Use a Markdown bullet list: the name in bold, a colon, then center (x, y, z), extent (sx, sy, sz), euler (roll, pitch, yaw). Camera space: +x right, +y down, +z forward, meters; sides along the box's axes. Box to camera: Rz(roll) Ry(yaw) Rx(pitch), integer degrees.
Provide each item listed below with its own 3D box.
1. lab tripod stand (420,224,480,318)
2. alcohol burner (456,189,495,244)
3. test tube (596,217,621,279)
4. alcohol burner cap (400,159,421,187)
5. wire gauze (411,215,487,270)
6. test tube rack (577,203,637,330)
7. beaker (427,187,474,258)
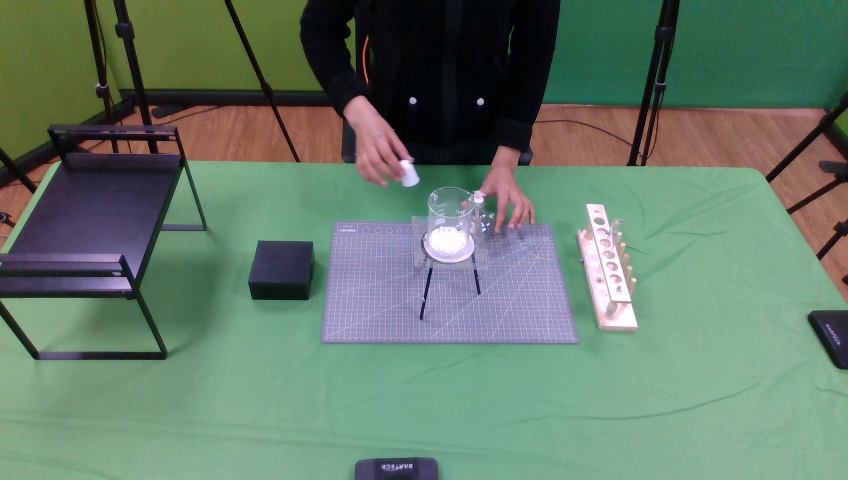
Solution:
- **lab tripod stand**: center (0.034, 0.051, 1.071), extent (0.148, 0.132, 0.147), euler (3, 48, -3)
- **alcohol burner**: center (0.102, -0.050, 1.187), extent (0.078, 0.120, 0.077), euler (1, 46, 0)
- **test tube**: center (0.331, 0.018, 1.094), extent (0.017, 0.151, 0.017), euler (0, 45, 0)
- **alcohol burner cap**: center (-0.026, -0.124, 1.093), extent (0.034, 0.048, 0.033), euler (-13, 37, 10)
- **wire gauze**: center (0.041, 0.003, 1.026), extent (0.125, 0.011, 0.120), euler (0, 46, -1)
- **test tube rack**: center (0.348, 0.045, 1.139), extent (0.067, 0.085, 0.241), euler (2, 46, -2)
- **beaker**: center (0.043, -0.027, 0.989), extent (0.084, 0.101, 0.073), euler (-27, 53, -26)
